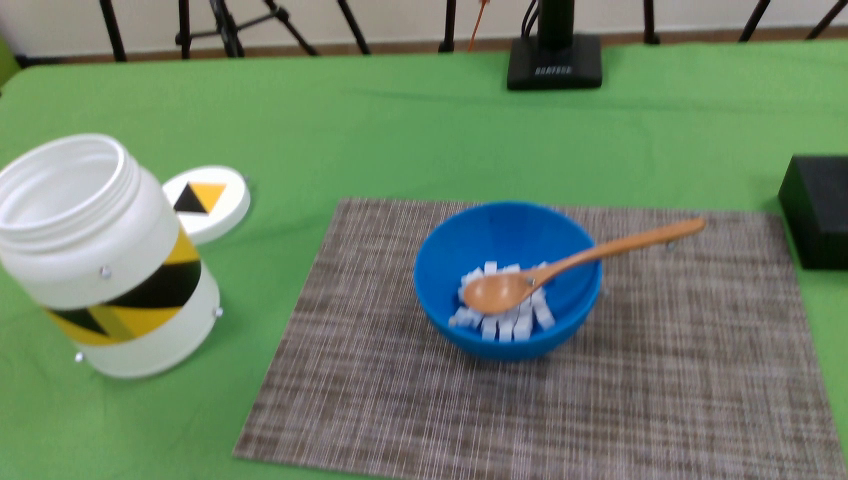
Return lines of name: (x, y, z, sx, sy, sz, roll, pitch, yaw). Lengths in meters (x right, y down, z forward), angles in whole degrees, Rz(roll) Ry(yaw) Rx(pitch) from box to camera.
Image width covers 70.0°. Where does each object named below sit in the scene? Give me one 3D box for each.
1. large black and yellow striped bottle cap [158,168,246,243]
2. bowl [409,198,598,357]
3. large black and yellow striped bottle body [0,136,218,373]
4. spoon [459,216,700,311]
large black and yellow striped bottle cap: (-0.264, -0.042, 0.695, 0.115, 0.019, 0.114, -4, 46, 4)
bowl: (0.066, 0.044, 0.510, 0.151, 0.077, 0.150, -4, 47, 5)
large black and yellow striped bottle body: (-0.273, 0.015, 0.525, 0.131, 0.186, 0.129, -5, 46, 5)
spoon: (0.120, 0.016, 0.480, 0.193, 0.022, 0.041, -21, 41, 15)
